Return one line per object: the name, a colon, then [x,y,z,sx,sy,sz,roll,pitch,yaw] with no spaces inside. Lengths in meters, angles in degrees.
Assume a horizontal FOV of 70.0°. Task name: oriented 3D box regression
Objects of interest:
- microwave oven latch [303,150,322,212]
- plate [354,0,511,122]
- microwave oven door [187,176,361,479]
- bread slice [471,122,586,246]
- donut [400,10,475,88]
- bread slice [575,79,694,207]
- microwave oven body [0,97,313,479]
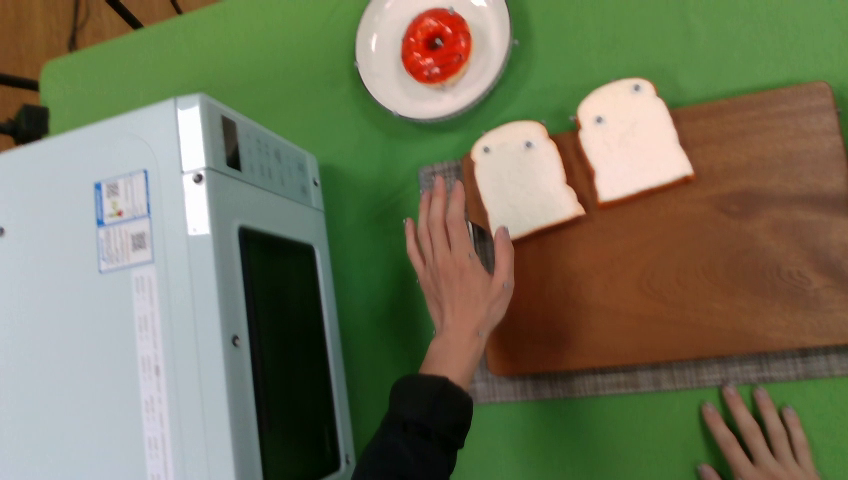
microwave oven latch: [-0.154,-0.075,0.792,0.030,0.029,0.079,-11,81,16]
plate: [0.011,-0.249,0.778,0.207,0.039,0.207,-2,83,18]
microwave oven door: [-0.155,0.125,0.661,0.039,0.245,0.354,-12,80,17]
bread slice: [0.111,-0.069,0.703,0.107,0.018,0.133,-24,76,13]
donut: [0.016,-0.240,0.763,0.098,0.048,0.099,-2,83,21]
bread slice: [0.224,-0.112,0.673,0.105,0.019,0.131,-19,77,13]
microwave oven body: [-0.297,0.114,0.713,0.325,0.261,0.440,-12,81,16]
